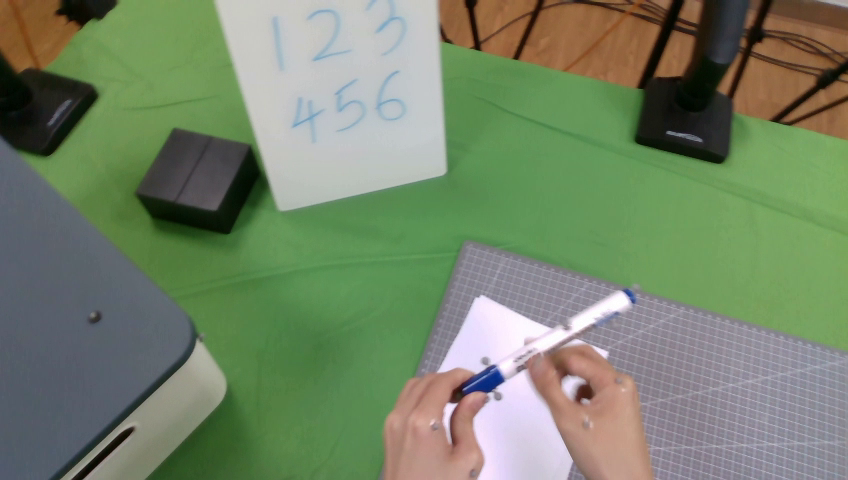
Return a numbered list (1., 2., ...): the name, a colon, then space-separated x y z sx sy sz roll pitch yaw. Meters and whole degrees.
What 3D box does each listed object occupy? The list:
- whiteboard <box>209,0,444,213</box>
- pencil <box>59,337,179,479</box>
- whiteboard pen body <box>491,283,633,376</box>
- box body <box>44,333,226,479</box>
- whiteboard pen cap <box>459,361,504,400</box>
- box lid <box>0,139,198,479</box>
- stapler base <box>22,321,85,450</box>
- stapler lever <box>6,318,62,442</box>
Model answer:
1. whiteboard: -0.108 -0.215 0.705 0.217 0.308 0.142 -13 42 -8
2. pencil: -0.307 0.174 0.604 0.012 0.012 0.193 20 50 10
3. whiteboard pen body: 0.094 0.073 0.455 0.141 0.017 0.017 -30 64 -2
4. box body: -0.400 0.096 0.568 0.362 0.161 0.253 36 66 17
5. whiteboard pen cap: 0.043 0.103 0.450 0.033 0.018 0.018 -27 64 -13
6. box lid: -0.401 0.058 0.505 0.369 0.015 0.263 36 66 17
7. stapler base: -0.379 0.142 0.612 0.041 0.024 0.129 -9 64 13
8. stapler lever: -0.384 0.133 0.590 0.027 0.040 0.117 -9 62 13
